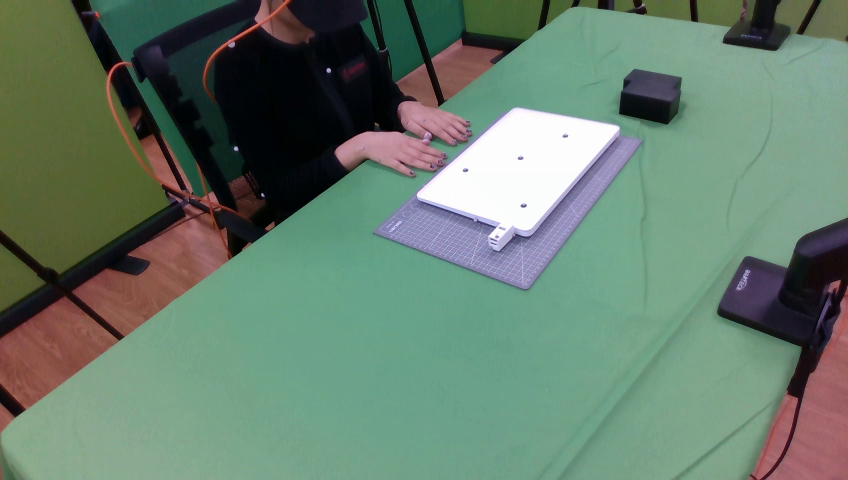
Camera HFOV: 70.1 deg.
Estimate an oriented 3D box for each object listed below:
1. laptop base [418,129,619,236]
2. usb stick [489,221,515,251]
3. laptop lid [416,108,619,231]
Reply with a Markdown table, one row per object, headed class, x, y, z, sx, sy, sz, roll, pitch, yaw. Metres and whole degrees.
| class | x | y | z | sx | sy | sz | roll | pitch | yaw |
| --- | --- | --- | --- | --- | --- | --- | --- | --- | --- |
| laptop base | 0.180 | -0.137 | 1.112 | 0.233 | 0.023 | 0.355 | 19 | 47 | 33 |
| usb stick | 0.127 | -0.011 | 0.954 | 0.021 | 0.027 | 0.059 | 22 | 47 | 34 |
| laptop lid | 0.176 | -0.147 | 1.106 | 0.239 | 0.013 | 0.357 | 21 | 48 | 34 |
